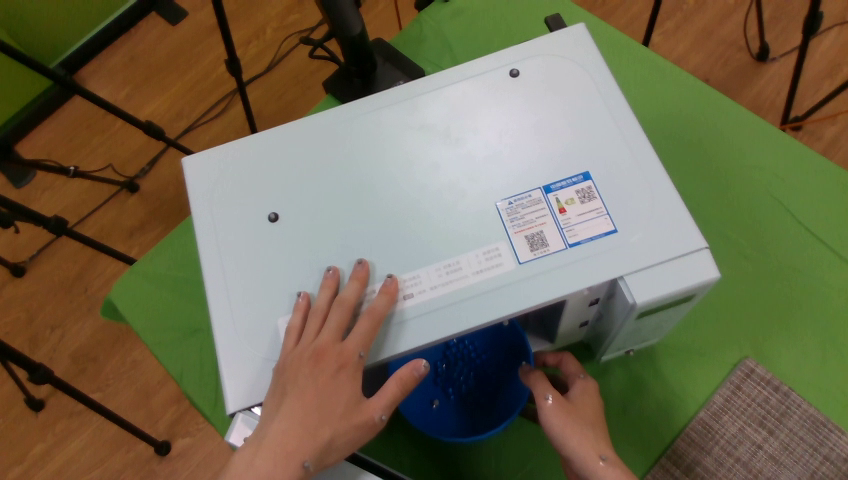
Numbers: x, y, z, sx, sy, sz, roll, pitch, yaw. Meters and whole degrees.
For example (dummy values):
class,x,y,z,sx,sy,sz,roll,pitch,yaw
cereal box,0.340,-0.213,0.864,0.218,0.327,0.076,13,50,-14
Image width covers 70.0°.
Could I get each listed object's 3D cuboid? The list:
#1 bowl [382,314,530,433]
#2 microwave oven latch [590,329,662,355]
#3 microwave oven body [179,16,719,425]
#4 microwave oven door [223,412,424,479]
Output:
class,x,y,z,sx,sy,sz,roll,pitch,yaw
bowl,0.035,0.134,0.644,0.151,0.077,0.150,-2,64,4
microwave oven latch,0.239,0.110,0.714,0.079,0.030,0.030,-18,67,0
microwave oven body,0.014,0.005,0.679,0.442,0.262,0.323,-20,67,-1
microwave oven door,0.009,0.256,0.570,0.354,0.246,0.039,21,72,15
